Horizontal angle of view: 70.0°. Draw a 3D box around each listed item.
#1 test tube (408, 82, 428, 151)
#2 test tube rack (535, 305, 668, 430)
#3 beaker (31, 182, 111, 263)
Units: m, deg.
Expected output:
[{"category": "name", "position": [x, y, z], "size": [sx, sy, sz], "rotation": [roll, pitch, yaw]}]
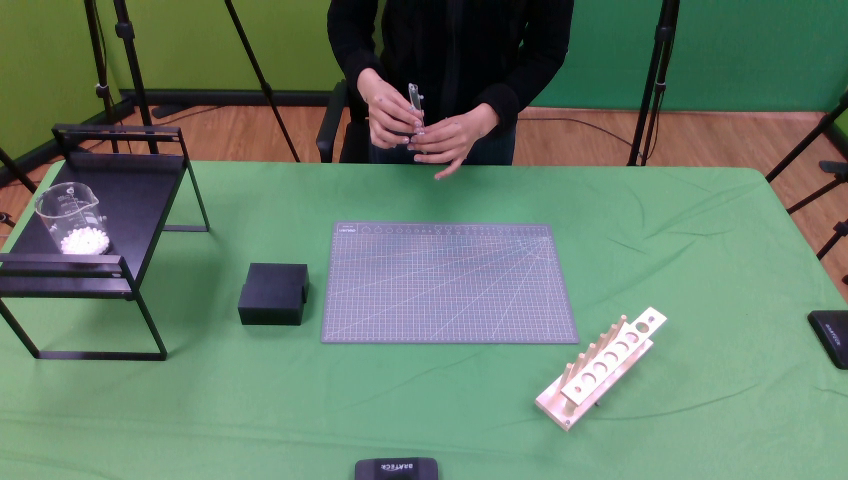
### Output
[{"category": "test tube", "position": [-0.009, -0.209, 1.047], "size": [0.017, 0.151, 0.017], "rotation": [-4, 54, 6]}, {"category": "test tube rack", "position": [0.290, 0.193, 0.984], "size": [0.242, 0.085, 0.066], "rotation": [-32, 56, -30]}, {"category": "beaker", "position": [-0.502, -0.022, 0.877], "size": [0.084, 0.101, 0.073], "rotation": [-2, 47, -7]}]
